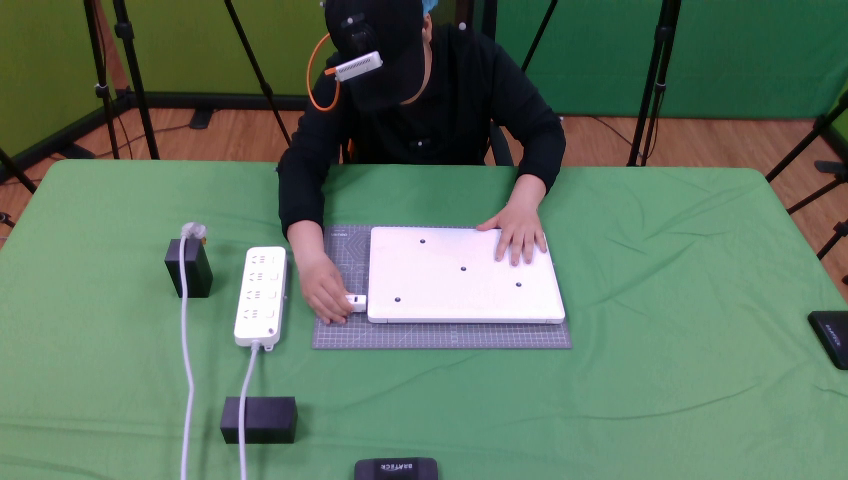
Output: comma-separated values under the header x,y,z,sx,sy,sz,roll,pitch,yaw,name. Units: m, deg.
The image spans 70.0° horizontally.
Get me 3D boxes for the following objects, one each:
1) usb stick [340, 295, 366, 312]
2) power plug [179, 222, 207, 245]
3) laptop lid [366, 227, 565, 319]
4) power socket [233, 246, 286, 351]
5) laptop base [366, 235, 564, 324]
x,y,z,sx,sy,sz,roll,pitch,yaw,name
-0.119,0.111,1.067,0.059,0.027,0.021,4,53,-6,usb stick
-0.412,-0.002,1.070,0.035,0.053,0.072,-1,42,23,power plug
0.072,0.056,1.137,0.357,0.013,0.240,2,43,-3,laptop lid
-0.289,0.095,1.077,0.072,0.033,0.225,-2,46,-4,power socket
0.071,0.065,1.144,0.355,0.023,0.234,1,43,-4,laptop base
